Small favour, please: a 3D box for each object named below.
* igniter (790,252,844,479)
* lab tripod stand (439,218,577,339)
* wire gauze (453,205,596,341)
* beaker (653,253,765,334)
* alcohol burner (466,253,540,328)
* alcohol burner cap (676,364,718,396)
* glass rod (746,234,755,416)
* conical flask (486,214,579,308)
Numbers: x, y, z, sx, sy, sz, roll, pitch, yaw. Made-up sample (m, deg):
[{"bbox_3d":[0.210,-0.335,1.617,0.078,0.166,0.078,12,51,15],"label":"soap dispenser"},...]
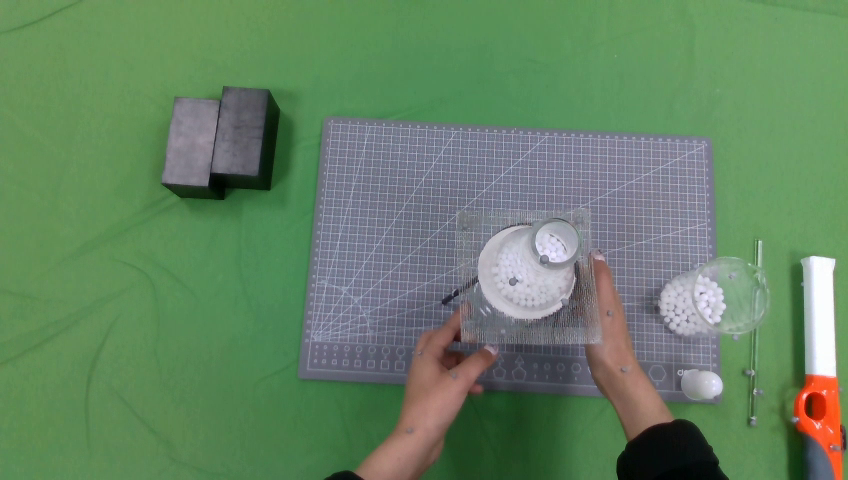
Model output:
[{"bbox_3d":[0.413,0.149,0.639,0.057,0.025,0.275,8,79,-9],"label":"igniter"},{"bbox_3d":[0.088,0.040,0.601,0.148,0.132,0.148,0,80,0],"label":"lab tripod stand"},{"bbox_3d":[0.089,0.028,0.537,0.125,0.011,0.121,0,81,-3],"label":"wire gauze"},{"bbox_3d":[0.286,0.057,0.617,0.084,0.100,0.073,-33,80,-7],"label":"beaker"},{"bbox_3d":[0.081,0.048,0.610,0.078,0.119,0.077,0,76,1],"label":"alcohol burner"},{"bbox_3d":[0.286,0.145,0.628,0.034,0.048,0.033,0,78,0],"label":"alcohol burner cap"},{"bbox_3d":[0.357,0.089,0.661,0.008,0.008,0.199,7,78,1],"label":"glass rod"},{"bbox_3d":[0.091,0.012,0.480,0.075,0.122,0.075,0,78,1],"label":"conical flask"}]
